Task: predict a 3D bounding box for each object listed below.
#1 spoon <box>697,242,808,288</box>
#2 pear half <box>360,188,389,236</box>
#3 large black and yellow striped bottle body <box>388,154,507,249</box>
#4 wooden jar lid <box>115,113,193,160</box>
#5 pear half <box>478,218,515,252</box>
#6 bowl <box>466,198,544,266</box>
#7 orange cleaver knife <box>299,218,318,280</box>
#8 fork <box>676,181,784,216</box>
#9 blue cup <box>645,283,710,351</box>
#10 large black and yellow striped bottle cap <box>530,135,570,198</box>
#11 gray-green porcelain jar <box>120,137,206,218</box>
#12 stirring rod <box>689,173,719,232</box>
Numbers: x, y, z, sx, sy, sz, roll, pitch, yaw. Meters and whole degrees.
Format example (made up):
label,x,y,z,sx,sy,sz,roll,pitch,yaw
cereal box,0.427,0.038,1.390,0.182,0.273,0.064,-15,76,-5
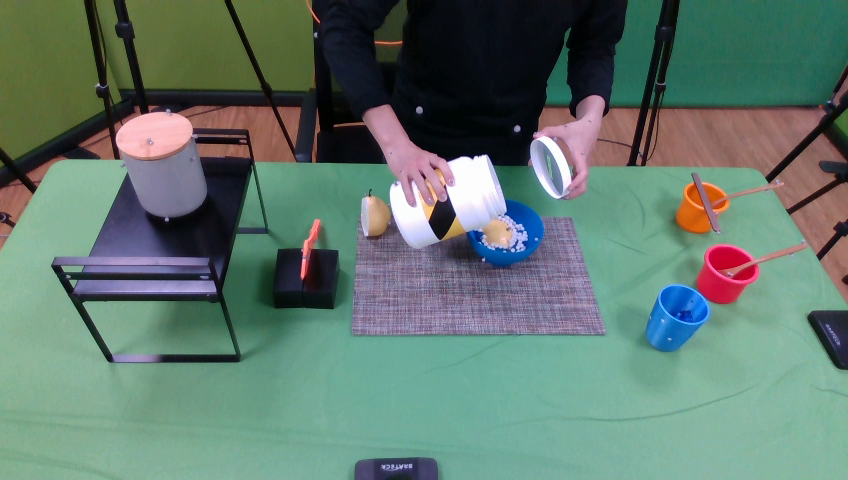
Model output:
label,x,y,z,sx,sy,sz,roll,pitch,yaw
spoon,0.601,0.045,1.116,0.194,0.022,0.041,-29,34,30
pear half,-0.096,-0.060,1.181,0.056,0.110,0.076,-13,52,-17
large black and yellow striped bottle body,0.043,-0.071,1.080,0.184,0.131,0.130,-19,45,14
wooden jar lid,-0.399,-0.151,0.900,0.108,0.021,0.107,3,46,-3
pear half,0.144,-0.013,1.165,0.070,0.031,0.087,-20,56,-22
bowl,0.149,-0.004,1.167,0.151,0.077,0.150,2,46,-2
orange cleaver knife,-0.214,0.013,1.125,0.012,0.077,0.210,5,17,-5
fork,0.618,-0.083,1.235,0.207,0.019,0.028,-23,21,38
blue cup,0.426,0.139,1.041,0.093,0.100,0.092,4,46,-3
large black and yellow striped bottle cap,0.224,-0.131,1.084,0.019,0.115,0.114,-23,51,-7
gray-green porcelain jar,-0.403,-0.106,0.946,0.106,0.127,0.105,3,46,-2
stirring rod,0.565,-0.080,1.225,0.014,0.006,0.175,3,46,1
